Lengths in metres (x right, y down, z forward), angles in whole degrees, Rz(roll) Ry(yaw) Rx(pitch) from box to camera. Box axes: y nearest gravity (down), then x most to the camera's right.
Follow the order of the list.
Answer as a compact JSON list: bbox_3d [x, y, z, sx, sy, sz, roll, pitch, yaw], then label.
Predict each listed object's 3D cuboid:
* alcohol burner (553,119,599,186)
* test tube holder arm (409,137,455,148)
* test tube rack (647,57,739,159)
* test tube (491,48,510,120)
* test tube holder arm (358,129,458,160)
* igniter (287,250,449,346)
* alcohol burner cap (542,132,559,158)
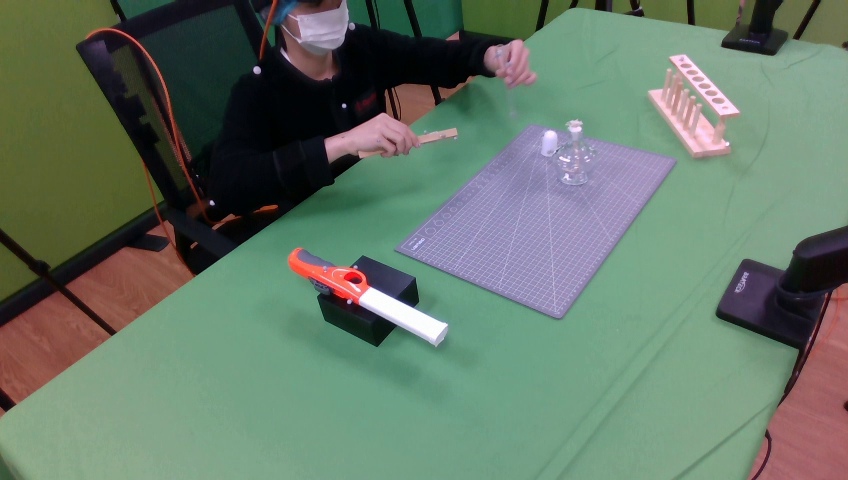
[{"bbox_3d":[0.261,-0.153,1.042,0.078,0.119,0.077,-6,40,6],"label":"alcohol burner"},{"bbox_3d":[0.014,-0.176,1.055,0.088,0.015,0.010,-16,-3,-16],"label":"test tube holder arm"},{"bbox_3d":[0.504,-0.257,1.153,0.067,0.085,0.241,-8,40,1],"label":"test tube rack"},{"bbox_3d":[0.137,-0.273,1.070,0.017,0.151,0.017,-8,50,10],"label":"test tube"},{"bbox_3d":[-0.026,-0.165,1.037,0.179,0.015,0.013,-16,-3,-16],"label":"test tube holder arm"},{"bbox_3d":[-0.087,0.073,0.825,0.274,0.025,0.057,23,48,28],"label":"igniter"},{"bbox_3d":[0.237,-0.180,1.134,0.034,0.048,0.033,-5,41,5],"label":"alcohol burner cap"}]
